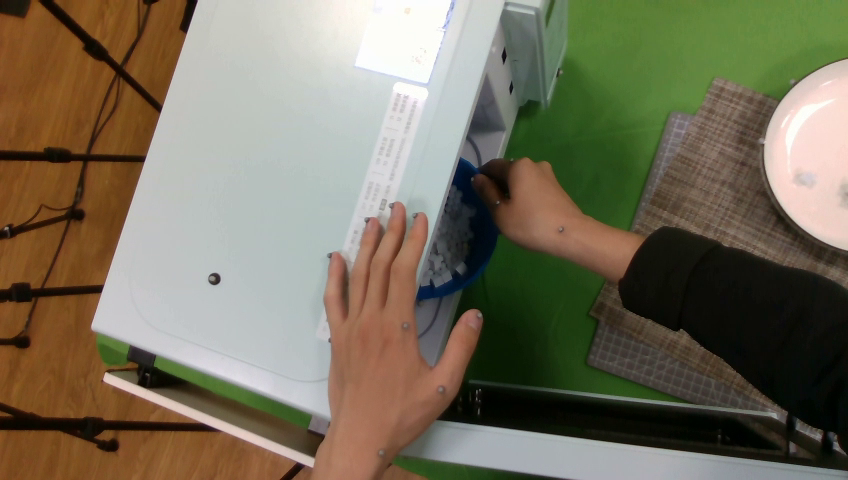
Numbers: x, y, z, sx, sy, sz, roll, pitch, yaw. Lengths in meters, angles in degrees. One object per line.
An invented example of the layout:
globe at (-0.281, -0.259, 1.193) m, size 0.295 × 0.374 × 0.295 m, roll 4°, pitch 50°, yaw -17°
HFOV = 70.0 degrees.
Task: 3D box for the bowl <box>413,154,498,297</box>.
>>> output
bowl at (0.005, -0.013, 0.623) m, size 0.151 × 0.077 × 0.151 m, roll -2°, pitch 81°, yaw 12°

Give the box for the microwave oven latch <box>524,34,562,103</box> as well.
microwave oven latch at (0.135, -0.198, 0.686) m, size 0.030 × 0.029 × 0.079 m, roll 17°, pitch 89°, yaw 13°

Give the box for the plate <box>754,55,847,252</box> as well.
plate at (0.449, -0.086, 0.619) m, size 0.209 × 0.038 × 0.208 m, roll -2°, pitch 83°, yaw 12°

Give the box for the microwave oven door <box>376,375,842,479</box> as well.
microwave oven door at (0.159, 0.169, 0.540) m, size 0.355 × 0.245 × 0.039 m, roll 3°, pitch 84°, yaw 13°

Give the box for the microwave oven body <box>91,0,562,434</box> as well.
microwave oven body at (-0.078, -0.082, 0.622) m, size 0.325 × 0.261 × 0.441 m, roll 17°, pitch 89°, yaw 13°
